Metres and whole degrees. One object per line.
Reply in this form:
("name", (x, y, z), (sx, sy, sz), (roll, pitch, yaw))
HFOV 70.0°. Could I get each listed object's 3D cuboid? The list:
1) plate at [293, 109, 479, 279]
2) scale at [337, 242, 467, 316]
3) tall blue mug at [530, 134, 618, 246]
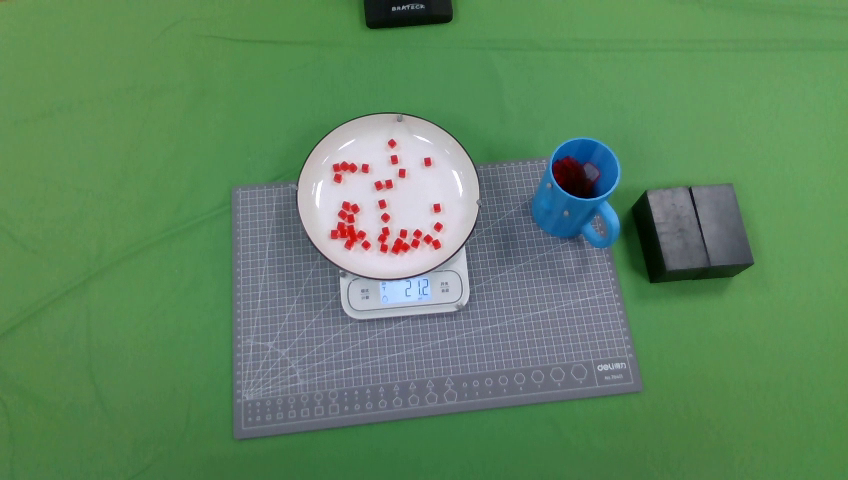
("plate", (-0.042, -0.051, 0.693), (0.209, 0.038, 0.207), (1, 71, -2))
("scale", (-0.031, -0.015, 0.716), (0.149, 0.032, 0.199), (-4, 72, -2))
("tall blue mug", (0.181, -0.053, 0.693), (0.107, 0.108, 0.077), (31, 72, 10))
